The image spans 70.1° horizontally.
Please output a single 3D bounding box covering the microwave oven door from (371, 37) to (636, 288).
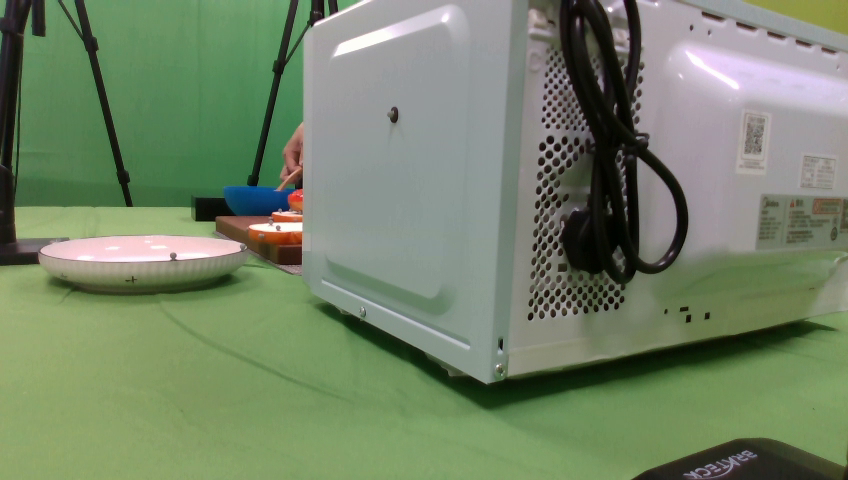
[{"bbox_3d":[0.109,-0.080,0.686,0.358,0.243,0.039,-2,9,-33],"label":"microwave oven door"}]

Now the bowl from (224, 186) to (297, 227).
[{"bbox_3d":[-0.330,-0.068,1.230,0.151,0.077,0.151,3,7,0],"label":"bowl"}]

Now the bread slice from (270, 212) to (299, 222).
[{"bbox_3d":[-0.198,-0.038,1.051,0.132,0.019,0.104,0,6,-31],"label":"bread slice"}]

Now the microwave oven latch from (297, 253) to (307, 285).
[{"bbox_3d":[-0.082,0.027,0.582,0.079,0.029,0.030,-1,7,-32],"label":"microwave oven latch"}]

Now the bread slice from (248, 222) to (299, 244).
[{"bbox_3d":[-0.174,-0.012,0.844,0.135,0.018,0.106,-6,10,-44],"label":"bread slice"}]

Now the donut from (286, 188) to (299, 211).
[{"bbox_3d":[-0.190,-0.068,1.055,0.099,0.048,0.099,3,7,0],"label":"donut"}]

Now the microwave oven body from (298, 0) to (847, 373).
[{"bbox_3d":[0.151,-0.055,0.543,0.444,0.260,0.324,-1,7,-33],"label":"microwave oven body"}]

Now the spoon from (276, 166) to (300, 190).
[{"bbox_3d":[-0.274,-0.123,1.232,0.194,0.022,0.041,-49,31,-22],"label":"spoon"}]

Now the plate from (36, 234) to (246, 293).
[{"bbox_3d":[-0.305,0.026,0.668,0.208,0.039,0.207,3,7,0],"label":"plate"}]
